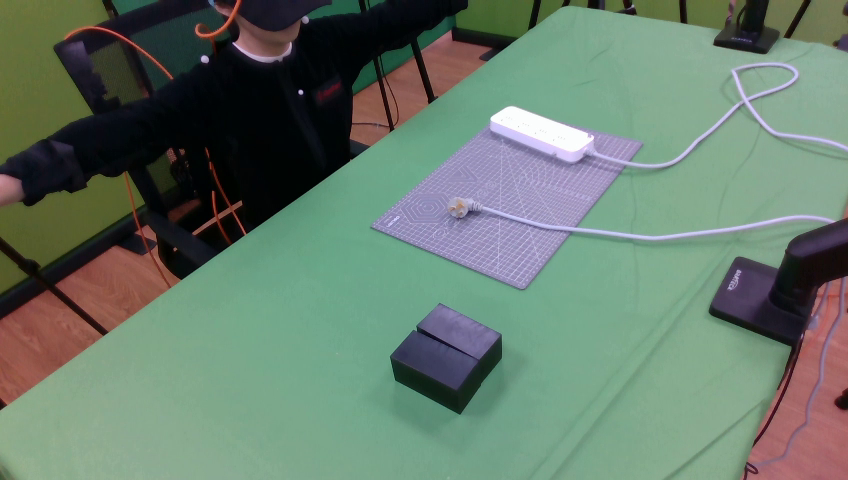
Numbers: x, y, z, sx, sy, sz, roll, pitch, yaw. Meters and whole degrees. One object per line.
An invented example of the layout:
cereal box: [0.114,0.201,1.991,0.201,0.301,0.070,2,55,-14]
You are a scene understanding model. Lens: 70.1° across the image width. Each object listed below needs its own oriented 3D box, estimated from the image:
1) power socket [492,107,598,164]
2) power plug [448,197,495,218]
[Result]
power socket: [0.227,-0.205,1.170,0.072,0.033,0.225,-36,48,-28]
power plug: [0.076,-0.055,1.010,0.072,0.035,0.053,0,23,27]
